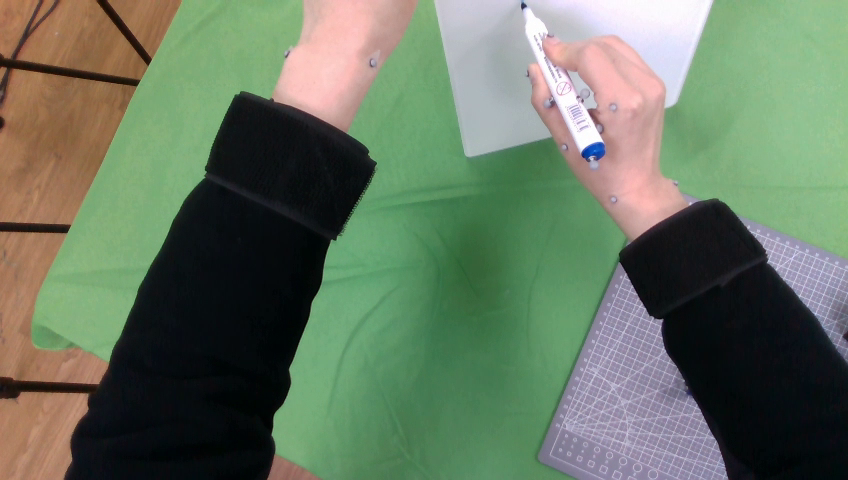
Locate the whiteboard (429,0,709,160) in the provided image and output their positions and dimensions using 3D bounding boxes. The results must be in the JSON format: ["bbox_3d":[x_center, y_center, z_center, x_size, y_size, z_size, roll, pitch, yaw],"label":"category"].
[{"bbox_3d":[0.107,-0.226,0.502,0.217,0.308,0.142,-13,67,4],"label":"whiteboard"}]

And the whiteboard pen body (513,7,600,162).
[{"bbox_3d":[0.086,-0.111,0.412,0.017,0.017,0.139,-20,64,3],"label":"whiteboard pen body"}]

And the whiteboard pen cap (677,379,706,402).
[{"bbox_3d":[0.255,0.142,0.580,0.018,0.033,0.018,0,90,3],"label":"whiteboard pen cap"}]
